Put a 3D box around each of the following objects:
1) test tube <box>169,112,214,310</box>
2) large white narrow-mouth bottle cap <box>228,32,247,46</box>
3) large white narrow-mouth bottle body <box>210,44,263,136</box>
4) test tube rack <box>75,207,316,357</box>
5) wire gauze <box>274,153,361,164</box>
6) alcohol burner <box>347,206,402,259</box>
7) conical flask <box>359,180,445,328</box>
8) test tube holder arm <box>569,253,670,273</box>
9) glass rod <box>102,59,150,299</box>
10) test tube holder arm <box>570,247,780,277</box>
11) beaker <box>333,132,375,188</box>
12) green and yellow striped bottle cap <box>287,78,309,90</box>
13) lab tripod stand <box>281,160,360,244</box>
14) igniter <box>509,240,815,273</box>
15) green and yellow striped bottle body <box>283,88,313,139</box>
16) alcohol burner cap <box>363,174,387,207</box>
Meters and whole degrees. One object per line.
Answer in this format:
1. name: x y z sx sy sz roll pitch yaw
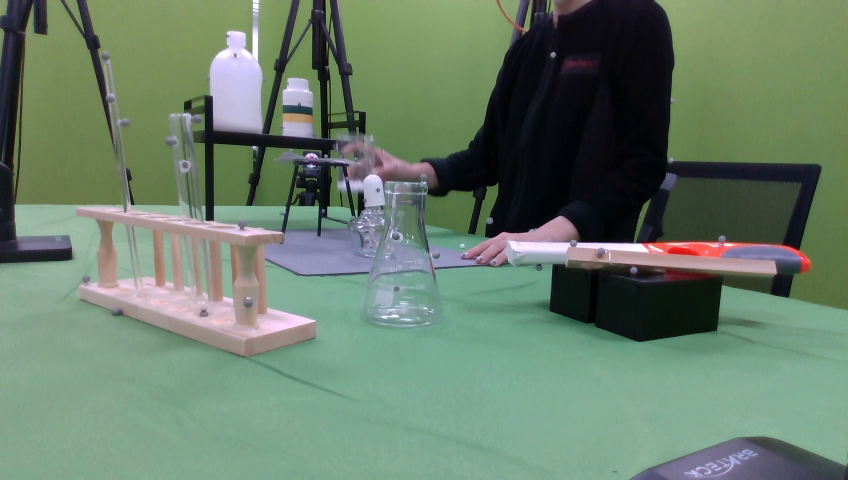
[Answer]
1. test tube: -0.175 -0.020 0.455 0.017 0.150 0.017 -3 9 1
2. large white narrow-mouth bottle cap: -0.364 -0.391 1.181 0.038 0.024 0.037 3 8 0
3. large white narrow-mouth bottle body: -0.369 -0.306 1.194 0.102 0.194 0.102 3 8 0
4. test tube rack: -0.196 0.023 0.500 0.241 0.085 0.067 8 9 36
5. wire gauze: -0.174 -0.130 0.978 0.125 0.011 0.121 1 6 -19
6. alcohol burner: -0.071 -0.034 0.867 0.078 0.119 0.078 0 7 0
7. conical flask: -0.017 0.010 0.522 0.075 0.122 0.075 2 7 0
8. test tube holder arm: 0.172 0.019 0.532 0.088 0.015 0.010 3 -23 3
9. glass rod: -0.244 -0.045 0.496 0.008 0.199 0.008 -3 13 1
10. test tube holder arm: 0.217 0.019 0.525 0.178 0.015 0.013 3 -23 3
11. beaker: -0.124 -0.144 1.097 0.083 0.100 0.074 7 8 43
12. green and yellow striped bottle cap: -0.265 -0.326 1.268 0.045 0.020 0.045 4 6 0
13. lab tripod stand: -0.170 -0.063 0.983 0.148 0.131 0.148 1 6 0
14. igniter: 0.220 0.015 0.566 0.277 0.025 0.057 2 16 0
15. green and yellow striped bottle body: -0.266 -0.275 1.275 0.063 0.119 0.063 3 7 0
16. alcohol burner cap: -0.072 -0.070 0.861 0.034 0.048 0.034 -7 7 1
